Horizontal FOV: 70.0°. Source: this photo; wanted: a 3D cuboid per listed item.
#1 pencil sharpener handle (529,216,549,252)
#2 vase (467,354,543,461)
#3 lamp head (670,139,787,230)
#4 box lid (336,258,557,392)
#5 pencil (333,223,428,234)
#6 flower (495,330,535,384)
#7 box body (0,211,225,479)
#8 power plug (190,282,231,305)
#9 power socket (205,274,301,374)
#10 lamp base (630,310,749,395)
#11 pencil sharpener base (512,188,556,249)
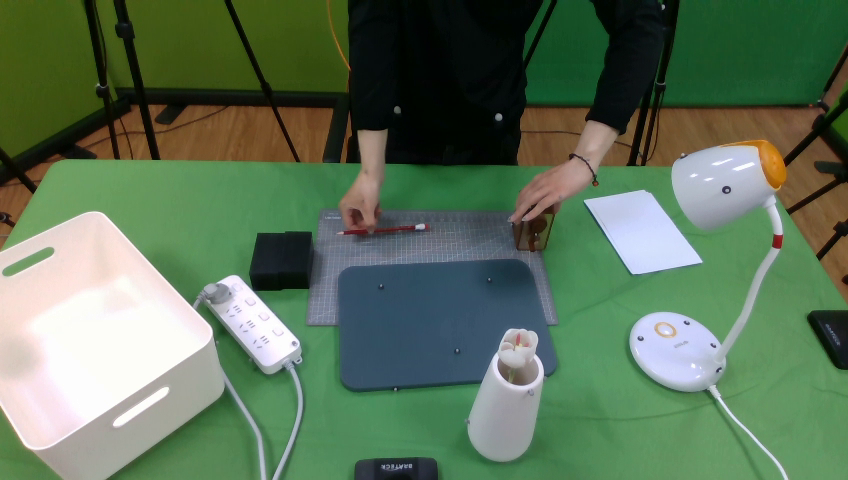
[{"bbox_3d":[0.215,-0.010,1.143,0.036,0.068,0.030,6,46,-9],"label":"pencil sharpener handle"},{"bbox_3d":[0.116,0.234,0.861,0.098,0.201,0.097,1,47,-1],"label":"vase"},{"bbox_3d":[0.415,-0.079,0.812,0.113,0.123,0.112,12,70,-37],"label":"lamp head"},{"bbox_3d":[0.030,0.140,1.073,0.372,0.015,0.261,-3,47,-7],"label":"box lid"},{"bbox_3d":[-0.082,-0.022,1.186,0.194,0.012,0.012,-5,46,-21],"label":"pencil"},{"bbox_3d":[0.110,0.187,0.791,0.044,0.363,0.038,-32,65,-10],"label":"flower"},{"bbox_3d":[-0.504,0.154,0.916,0.362,0.161,0.254,36,54,27],"label":"box body"},{"bbox_3d":[-0.368,0.098,1.039,0.072,0.053,0.035,-26,55,-20],"label":"power plug"},{"bbox_3d":[-0.296,0.140,1.035,0.072,0.033,0.225,-32,57,-29],"label":"power socket"},{"bbox_3d":[0.447,0.143,0.984,0.161,0.181,0.178,-24,55,-24],"label":"lamp base"},{"bbox_3d":[0.214,-0.039,1.187,0.061,0.107,0.076,1,46,-4],"label":"pencil sharpener base"}]
